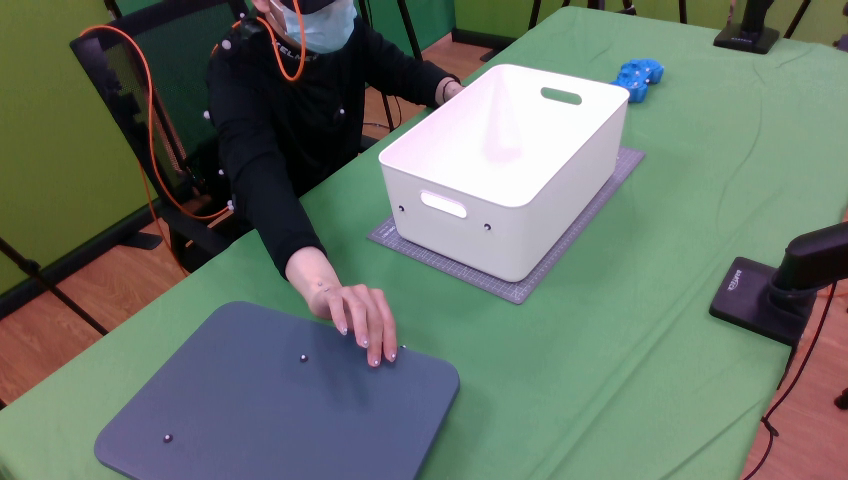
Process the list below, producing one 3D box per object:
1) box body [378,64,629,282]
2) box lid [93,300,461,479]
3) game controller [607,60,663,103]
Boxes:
[{"bbox_3d":[0.137,-0.121,0.978,0.252,0.161,0.365,22,48,30],"label":"box body"},{"bbox_3d":[-0.164,0.200,0.701,0.369,0.015,0.263,13,44,21],"label":"box lid"},{"bbox_3d":[0.442,-0.345,1.288,0.096,0.052,0.155,25,50,27],"label":"game controller"}]
